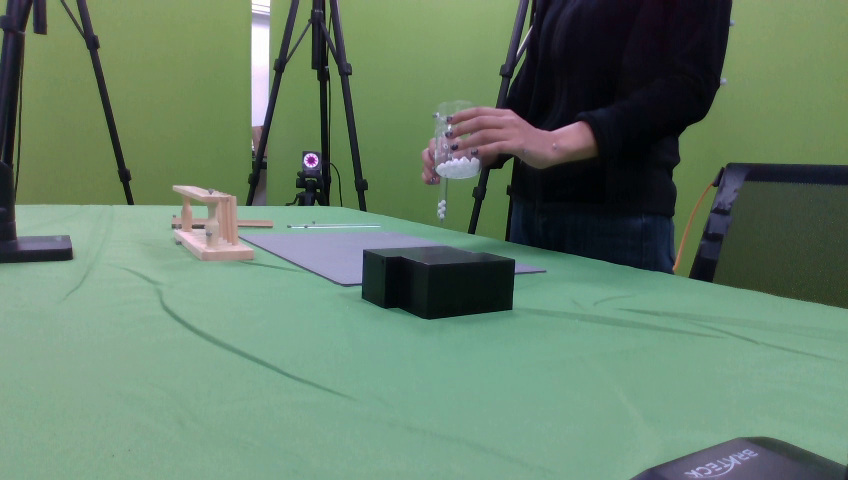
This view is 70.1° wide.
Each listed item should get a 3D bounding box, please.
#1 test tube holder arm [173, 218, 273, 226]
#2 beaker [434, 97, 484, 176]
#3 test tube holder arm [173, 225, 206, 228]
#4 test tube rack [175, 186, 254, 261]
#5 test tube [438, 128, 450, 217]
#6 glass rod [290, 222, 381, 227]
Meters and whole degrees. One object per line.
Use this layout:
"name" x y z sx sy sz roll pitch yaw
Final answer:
"test tube holder arm" -0.371 -0.033 1.128 0.179 0.015 0.013 -1 -21 -25
"beaker" 0.050 -0.151 0.908 0.074 0.100 0.084 4 -13 -18
"test tube holder arm" -0.414 -0.030 1.113 0.088 0.015 0.010 -1 -21 -25
"test tube rack" -0.314 -0.031 0.889 0.067 0.085 0.241 -2 8 -30
"test tube" 0.033 -0.109 0.997 0.017 0.150 0.017 1 23 0
"glass rod" -0.178 -0.033 1.247 0.201 0.008 0.008 -2 8 -30
